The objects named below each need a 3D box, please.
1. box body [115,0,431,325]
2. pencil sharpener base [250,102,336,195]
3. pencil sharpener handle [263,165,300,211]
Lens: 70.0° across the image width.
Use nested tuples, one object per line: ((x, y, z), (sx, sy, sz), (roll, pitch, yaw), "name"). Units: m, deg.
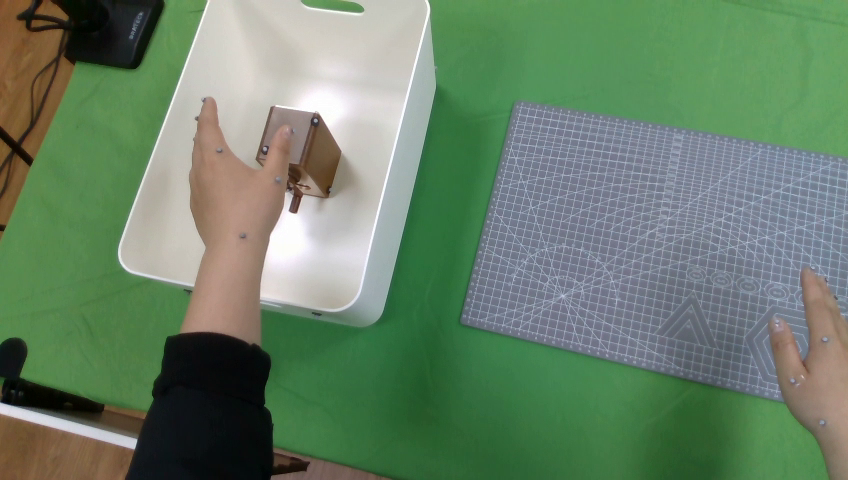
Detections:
((-0.146, -0.099, 0.701), (0.254, 0.161, 0.362), (10, 75, 8), "box body")
((-0.154, -0.104, 0.725), (0.061, 0.107, 0.076), (10, 76, 9), "pencil sharpener base")
((-0.164, -0.059, 0.701), (0.036, 0.068, 0.030), (8, 75, 18), "pencil sharpener handle")
